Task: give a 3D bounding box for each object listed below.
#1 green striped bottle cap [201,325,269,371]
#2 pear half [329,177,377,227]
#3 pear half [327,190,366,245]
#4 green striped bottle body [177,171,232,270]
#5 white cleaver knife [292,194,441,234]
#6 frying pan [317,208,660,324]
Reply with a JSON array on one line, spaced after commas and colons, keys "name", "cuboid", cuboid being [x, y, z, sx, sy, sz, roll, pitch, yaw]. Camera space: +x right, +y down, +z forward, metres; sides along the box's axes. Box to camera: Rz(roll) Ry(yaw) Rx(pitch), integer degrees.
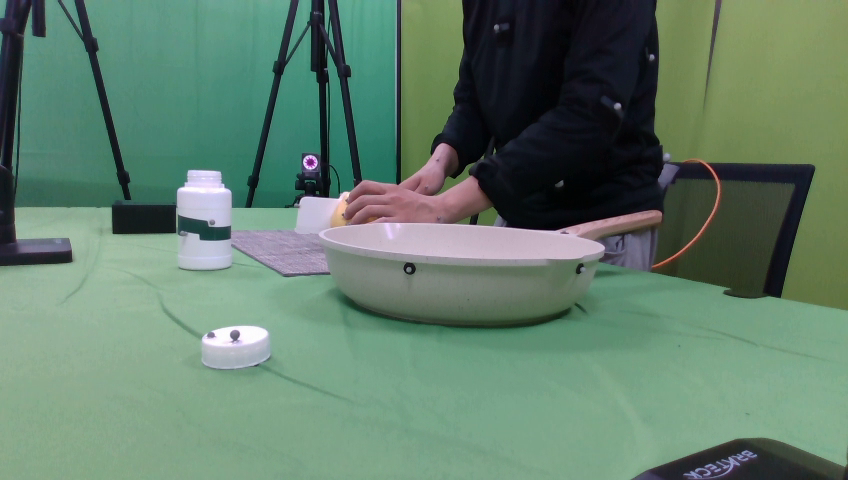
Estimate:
[{"name": "green striped bottle cap", "cuboid": [-0.129, 0.073, 0.415, 0.044, 0.020, 0.044, 2, 8, 0]}, {"name": "pear half", "cuboid": [-0.105, -0.042, 0.945, 0.077, 0.110, 0.055, -9, 15, -44]}, {"name": "pear half", "cuboid": [-0.131, -0.036, 0.976, 0.071, 0.088, 0.031, -11, 7, -44]}, {"name": "green striped bottle body", "cuboid": [-0.273, -0.026, 0.752, 0.063, 0.119, 0.063, 2, 7, 0]}, {"name": "white cleaver knife", "cuboid": [-0.086, -0.041, 0.996, 0.288, 0.066, 0.021, -2, 10, -38]}, {"name": "frying pan", "cuboid": [0.120, 0.006, 0.691, 0.490, 0.102, 0.305, -13, 15, -33]}]
